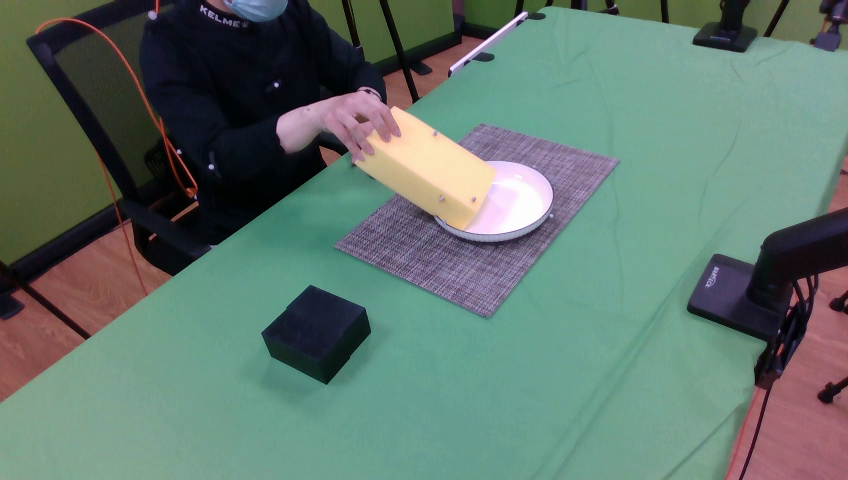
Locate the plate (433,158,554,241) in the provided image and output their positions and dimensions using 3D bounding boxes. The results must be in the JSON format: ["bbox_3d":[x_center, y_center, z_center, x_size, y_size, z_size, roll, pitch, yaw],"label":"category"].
[{"bbox_3d":[0.111,-0.065,1.011,0.207,0.039,0.206,-4,41,4],"label":"plate"}]

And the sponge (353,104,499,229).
[{"bbox_3d":[0.006,-0.118,0.982,0.207,0.061,0.118,32,48,-4],"label":"sponge"}]
